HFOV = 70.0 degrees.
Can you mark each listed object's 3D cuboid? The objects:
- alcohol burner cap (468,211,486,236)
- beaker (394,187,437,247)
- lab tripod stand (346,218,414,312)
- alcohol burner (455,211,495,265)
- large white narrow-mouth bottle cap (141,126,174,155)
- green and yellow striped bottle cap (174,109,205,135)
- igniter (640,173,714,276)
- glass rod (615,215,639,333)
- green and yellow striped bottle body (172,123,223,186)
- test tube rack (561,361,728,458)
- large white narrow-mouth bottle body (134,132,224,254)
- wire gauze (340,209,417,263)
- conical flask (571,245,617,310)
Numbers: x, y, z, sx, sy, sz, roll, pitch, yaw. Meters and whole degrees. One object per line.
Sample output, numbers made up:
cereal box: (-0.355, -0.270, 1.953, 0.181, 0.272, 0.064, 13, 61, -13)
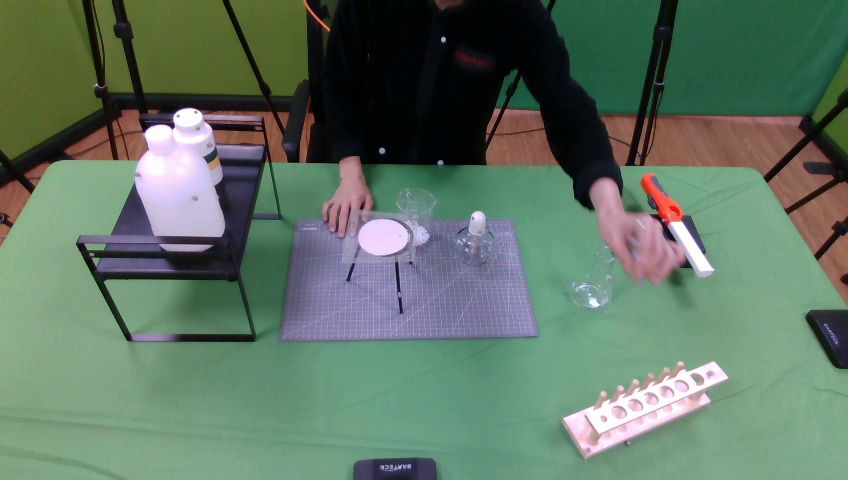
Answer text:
alcohol burner cap: (0.100, -0.033, 1.119, 0.034, 0.048, 0.033, 0, 52, 1)
beaker: (-0.018, -0.042, 1.180, 0.084, 0.101, 0.073, -9, 48, -13)
lab tripod stand: (-0.070, 0.038, 1.075, 0.148, 0.132, 0.147, 1, 48, -1)
alcohol burner: (0.097, -0.009, 1.147, 0.078, 0.120, 0.077, 0, 47, 0)
large white narrow-mouth bottle cap: (-0.356, -0.133, 0.810, 0.038, 0.024, 0.037, 2, 48, -2)
green and yellow striped bottle cap: (-0.369, -0.186, 0.954, 0.045, 0.020, 0.045, 3, 50, -3)
igniter: (0.495, -0.039, 1.203, 0.057, 0.025, 0.274, -2, 47, -12)
glass rod: (0.257, 0.049, 0.771, 0.008, 0.201, 0.008, -4, 39, 3)
green and yellow striped bottle body: (-0.373, -0.148, 0.994, 0.063, 0.120, 0.063, 2, 46, -2)
test tube rack: (0.341, 0.248, 0.940, 0.243, 0.085, 0.066, -15, 49, -18)
large white narrow-mouth bottle body: (-0.358, -0.075, 0.875, 0.102, 0.195, 0.101, 2, 48, -1)
wire gauze: (-0.074, -0.006, 1.023, 0.121, 0.011, 0.124, 3, 46, 0)
conical flask: (0.313, 0.064, 1.089, 0.075, 0.122, 0.075, 2, 46, -2)
